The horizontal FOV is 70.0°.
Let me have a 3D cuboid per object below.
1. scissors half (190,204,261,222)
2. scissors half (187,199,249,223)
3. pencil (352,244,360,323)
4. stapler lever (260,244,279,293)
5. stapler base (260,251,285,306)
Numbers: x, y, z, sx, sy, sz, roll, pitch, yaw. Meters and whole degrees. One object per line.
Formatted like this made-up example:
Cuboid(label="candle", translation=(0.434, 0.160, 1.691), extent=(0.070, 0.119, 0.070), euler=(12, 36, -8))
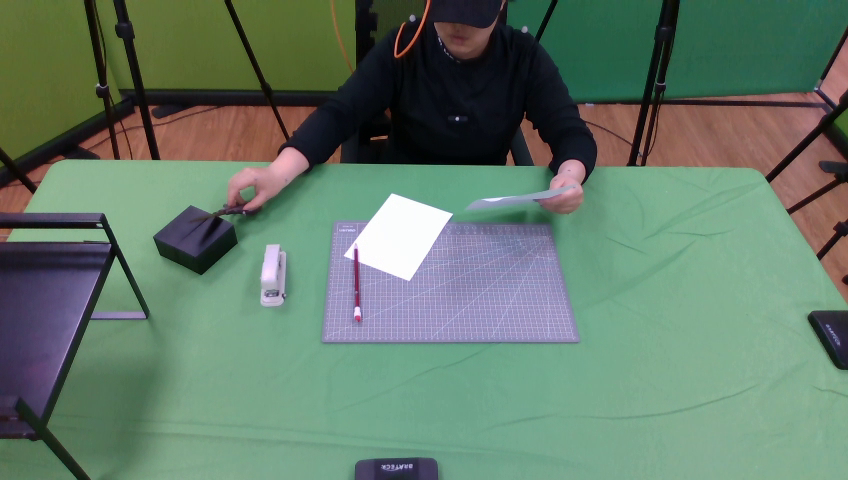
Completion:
Cuboid(label="scissors half", translation=(-0.380, -0.047, 1.161), extent=(0.040, 0.013, 0.175), euler=(30, 25, 25))
Cuboid(label="scissors half", translation=(-0.397, -0.055, 1.167), extent=(0.040, 0.013, 0.175), euler=(18, 21, 11))
Cuboid(label="pencil", translation=(-0.127, 0.075, 1.120), extent=(0.012, 0.012, 0.192), euler=(-2, 44, -7))
Cuboid(label="stapler lever", translation=(-0.279, 0.045, 1.096), extent=(0.027, 0.040, 0.117), euler=(-2, 44, -9))
Cuboid(label="stapler base", translation=(-0.279, 0.064, 1.113), extent=(0.041, 0.024, 0.129), euler=(-1, 44, -9))
